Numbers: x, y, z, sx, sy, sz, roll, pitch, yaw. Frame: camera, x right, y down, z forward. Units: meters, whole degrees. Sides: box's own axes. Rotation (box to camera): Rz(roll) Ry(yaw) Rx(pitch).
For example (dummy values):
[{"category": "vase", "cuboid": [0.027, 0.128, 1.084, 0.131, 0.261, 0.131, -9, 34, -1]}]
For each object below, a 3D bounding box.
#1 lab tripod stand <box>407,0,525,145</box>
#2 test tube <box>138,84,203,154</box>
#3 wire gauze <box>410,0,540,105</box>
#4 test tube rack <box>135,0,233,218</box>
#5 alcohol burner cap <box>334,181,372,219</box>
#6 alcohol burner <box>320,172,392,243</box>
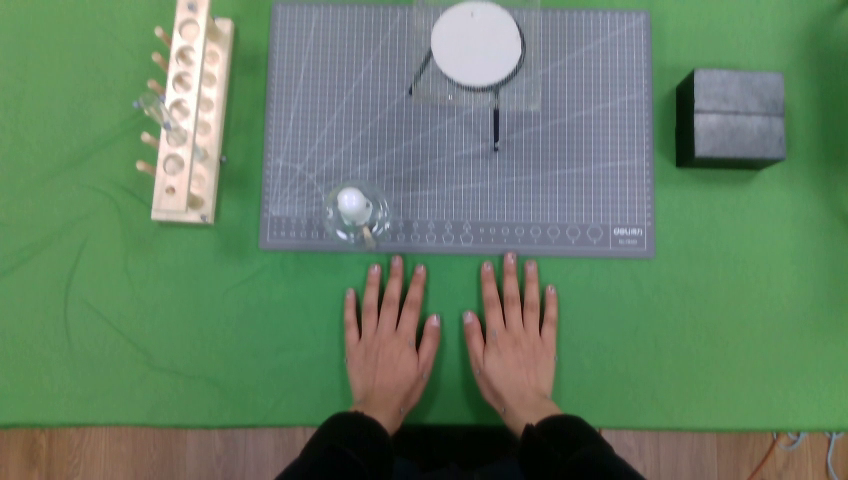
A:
[{"category": "lab tripod stand", "cuboid": [0.053, -0.187, 0.642, 0.148, 0.132, 0.148, 0, 82, 0]}, {"category": "test tube", "cuboid": [-0.250, -0.116, 0.608, 0.017, 0.150, 0.017, 1, 79, -3]}, {"category": "wire gauze", "cuboid": [0.049, -0.190, 0.575, 0.125, 0.011, 0.121, 2, 84, 0]}, {"category": "test tube rack", "cuboid": [-0.265, -0.152, 0.661, 0.067, 0.085, 0.241, 4, 84, 0]}, {"category": "alcohol burner cap", "cuboid": [-0.072, -0.041, 0.599, 0.034, 0.048, 0.033, -1, 80, 5]}, {"category": "alcohol burner", "cuboid": [-0.072, -0.036, 0.635, 0.078, 0.119, 0.077, 0, 83, -2]}]
